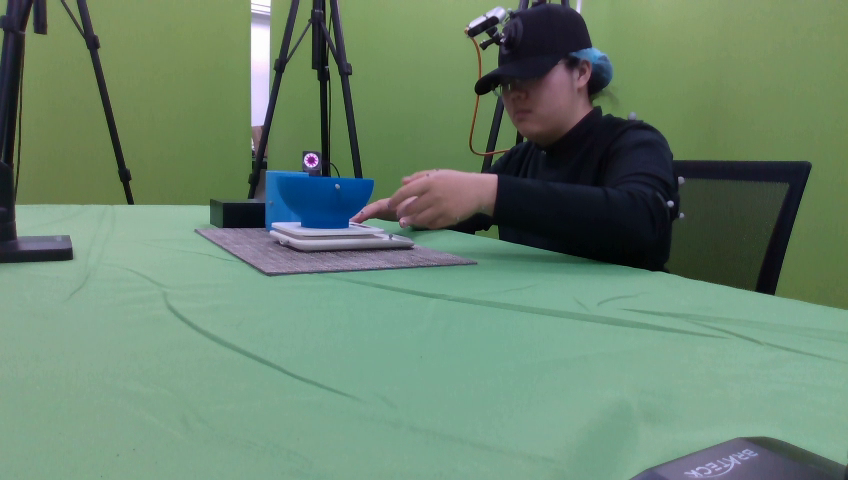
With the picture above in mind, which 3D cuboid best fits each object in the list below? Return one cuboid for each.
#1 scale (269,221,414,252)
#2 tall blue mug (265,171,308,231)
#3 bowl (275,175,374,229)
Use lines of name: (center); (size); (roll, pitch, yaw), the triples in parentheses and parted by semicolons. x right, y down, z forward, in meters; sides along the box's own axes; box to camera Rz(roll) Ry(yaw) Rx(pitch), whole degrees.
scale: (-0.130, -0.008, 0.959); (0.202, 0.031, 0.148); (-1, 9, -32)
tall blue mug: (-0.248, -0.073, 1.121); (0.078, 0.108, 0.107); (3, 8, 8)
bowl: (-0.153, -0.059, 0.933); (0.151, 0.077, 0.151); (2, 7, 0)
